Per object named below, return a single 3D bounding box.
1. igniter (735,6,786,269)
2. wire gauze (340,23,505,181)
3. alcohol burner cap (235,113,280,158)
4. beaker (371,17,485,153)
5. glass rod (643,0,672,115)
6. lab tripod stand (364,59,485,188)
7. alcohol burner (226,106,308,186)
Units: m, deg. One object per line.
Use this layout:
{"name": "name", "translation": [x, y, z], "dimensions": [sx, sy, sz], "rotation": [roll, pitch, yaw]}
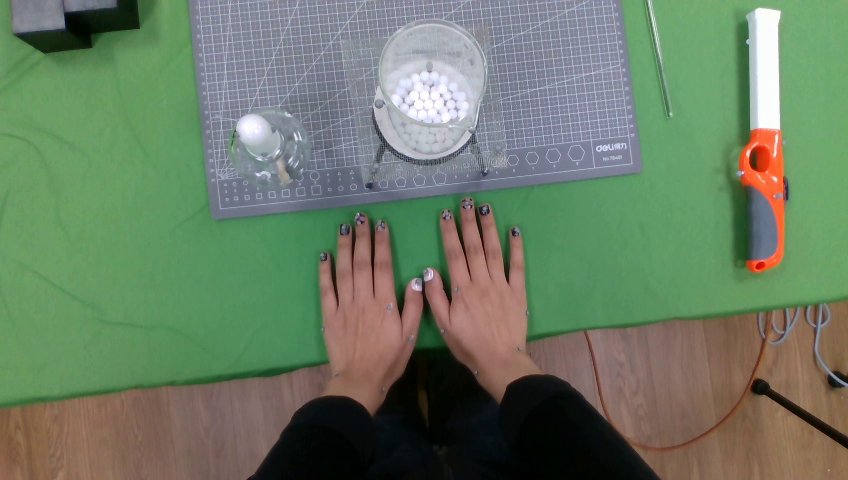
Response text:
{"name": "igniter", "translation": [0.354, -0.107, 0.638], "dimensions": [0.057, 0.025, 0.276], "rotation": [2, 88, -13]}
{"name": "wire gauze", "translation": [-0.001, -0.114, 0.501], "dimensions": [0.125, 0.011, 0.121], "rotation": [-7, 86, -1]}
{"name": "alcohol burner cap", "translation": [-0.149, -0.094, 0.533], "dimensions": [0.034, 0.048, 0.034], "rotation": [0, 83, 0]}
{"name": "beaker", "translation": [0.004, -0.107, 0.453], "dimensions": [0.074, 0.100, 0.084], "rotation": [-39, 88, -4]}
{"name": "glass rod", "translation": [0.242, -0.231, 0.646], "dimensions": [0.008, 0.008, 0.199], "rotation": [-10, 88, -3]}
{"name": "lab tripod stand", "translation": [-0.004, -0.107, 0.566], "dimensions": [0.148, 0.131, 0.148], "rotation": [0, 86, 0]}
{"name": "alcohol burner", "translation": [-0.150, -0.092, 0.569], "dimensions": [0.078, 0.119, 0.077], "rotation": [0, 85, -2]}
